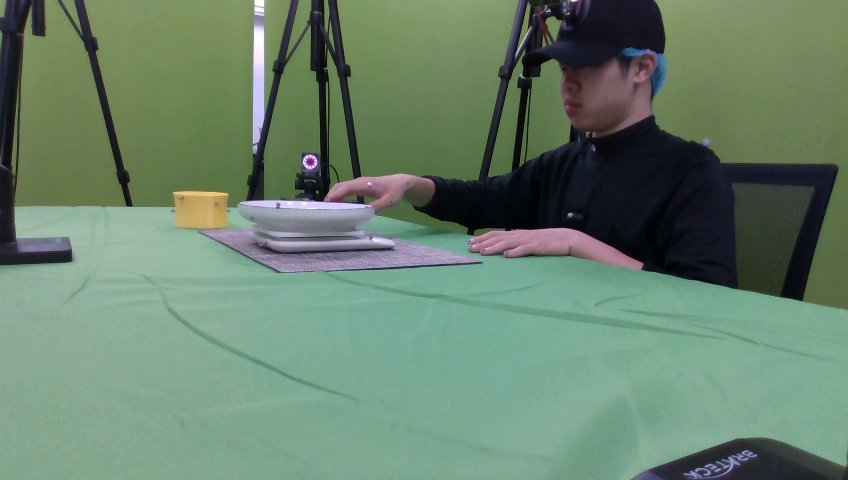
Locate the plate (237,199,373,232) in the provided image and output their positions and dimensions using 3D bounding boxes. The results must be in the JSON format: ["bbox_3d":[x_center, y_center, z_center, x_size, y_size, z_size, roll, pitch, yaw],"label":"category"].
[{"bbox_3d":[-0.183,-0.039,0.941,0.209,0.038,0.209,3,7,0],"label":"plate"}]

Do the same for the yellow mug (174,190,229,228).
[{"bbox_3d":[-0.427,-0.063,1.189,0.100,0.064,0.131,5,7,13],"label":"yellow mug"}]

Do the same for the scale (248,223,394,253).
[{"bbox_3d":[-0.162,-0.006,0.954,0.202,0.031,0.148,-2,8,-32],"label":"scale"}]
